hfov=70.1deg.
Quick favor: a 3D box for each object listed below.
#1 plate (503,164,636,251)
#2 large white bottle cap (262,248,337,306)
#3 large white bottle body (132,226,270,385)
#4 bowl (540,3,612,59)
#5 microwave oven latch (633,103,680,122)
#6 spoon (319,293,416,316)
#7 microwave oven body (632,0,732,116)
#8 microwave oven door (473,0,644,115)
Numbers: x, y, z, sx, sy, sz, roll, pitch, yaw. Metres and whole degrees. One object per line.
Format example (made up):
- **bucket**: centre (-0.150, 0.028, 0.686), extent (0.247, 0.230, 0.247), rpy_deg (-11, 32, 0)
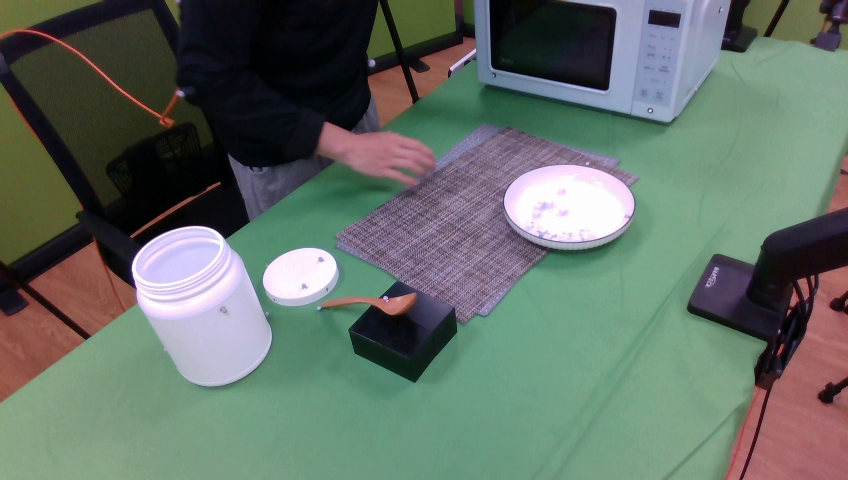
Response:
- **plate**: centre (0.232, -0.050, 0.976), extent (0.209, 0.038, 0.208), rpy_deg (-3, 41, 3)
- **large white bottle cap**: centre (-0.193, 0.056, 0.934), extent (0.115, 0.018, 0.114), rpy_deg (-4, 41, 4)
- **large white bottle body**: centre (-0.286, 0.085, 0.784), extent (0.130, 0.185, 0.130), rpy_deg (-4, 41, 4)
- **bowl**: centre (0.323, -0.441, 1.298), extent (0.151, 0.077, 0.150), rpy_deg (-4, 42, 4)
- **microwave oven latch**: centre (0.443, -0.249, 1.158), extent (0.078, 0.029, 0.030), rpy_deg (21, 49, 30)
- **spoon**: centre (-0.082, 0.086, 0.826), extent (0.192, 0.022, 0.041), rpy_deg (-3, 36, 41)
- **microwave oven body**: centre (0.377, -0.463, 1.267), extent (0.438, 0.261, 0.327), rpy_deg (21, 49, 30)
- **microwave oven door**: centre (0.257, -0.396, 1.199), extent (0.353, 0.245, 0.039), rpy_deg (21, 48, 29)
